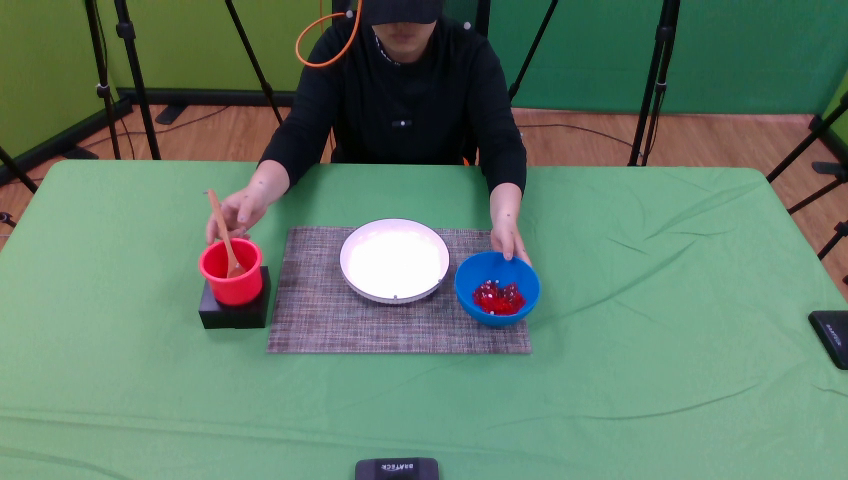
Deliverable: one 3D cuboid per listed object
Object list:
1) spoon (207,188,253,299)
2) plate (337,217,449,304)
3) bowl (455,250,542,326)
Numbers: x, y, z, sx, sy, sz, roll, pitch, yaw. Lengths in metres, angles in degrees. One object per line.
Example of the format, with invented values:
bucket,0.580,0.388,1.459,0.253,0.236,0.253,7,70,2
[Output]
spoon,-0.328,0.005,1.014,0.042,0.021,0.193,-16,94,-19
plate,-0.058,0.042,1.137,0.208,0.039,0.206,2,46,-2
bowl,0.126,0.098,1.067,0.151,0.077,0.150,2,46,-2
